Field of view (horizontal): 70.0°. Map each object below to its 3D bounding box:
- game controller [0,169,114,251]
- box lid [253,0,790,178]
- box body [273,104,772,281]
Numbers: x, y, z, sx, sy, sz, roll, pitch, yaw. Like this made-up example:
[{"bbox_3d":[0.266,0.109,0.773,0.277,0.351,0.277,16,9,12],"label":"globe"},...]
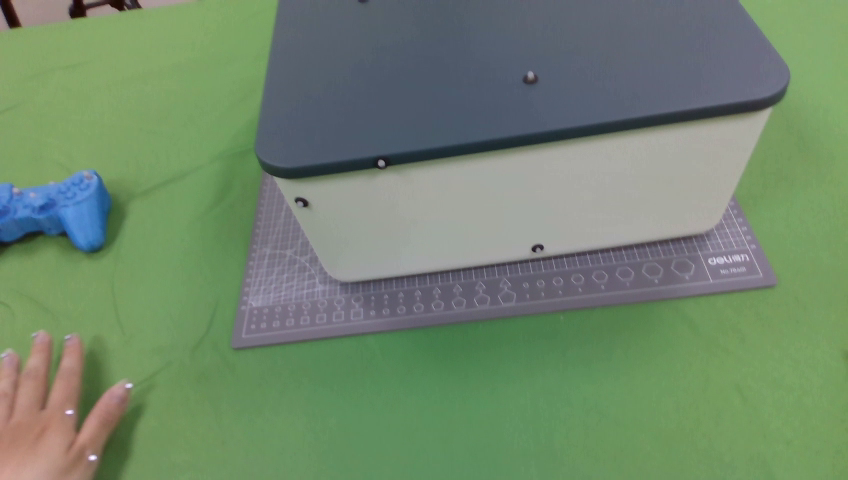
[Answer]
[{"bbox_3d":[-0.397,-0.028,0.619,0.155,0.052,0.096,-7,47,3],"label":"game controller"},{"bbox_3d":[0.053,-0.165,0.480,0.371,0.015,0.260,-8,50,3],"label":"box lid"},{"bbox_3d":[0.066,-0.118,0.536,0.364,0.162,0.251,-8,50,3],"label":"box body"}]
